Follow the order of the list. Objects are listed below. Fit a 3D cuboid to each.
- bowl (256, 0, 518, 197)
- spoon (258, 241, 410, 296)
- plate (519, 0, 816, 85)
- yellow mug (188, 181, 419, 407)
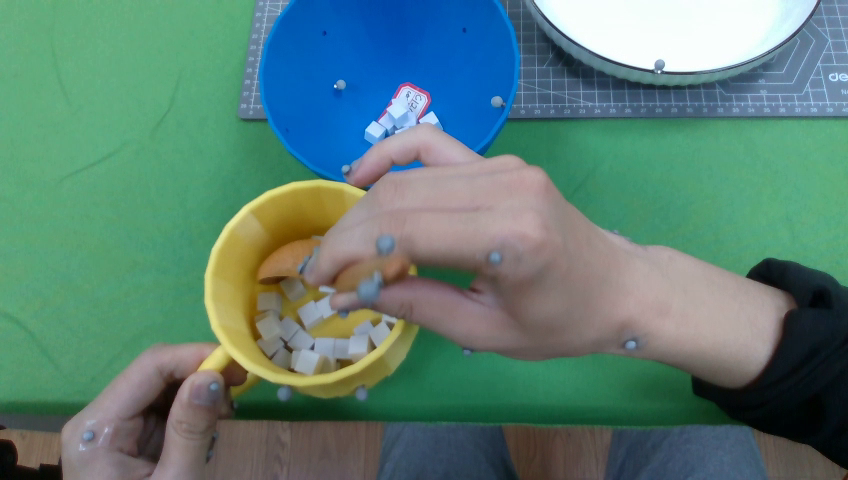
[{"bbox_3d":[-0.019,-0.088,0.380,0.151,0.077,0.150,-1,74,4],"label":"bowl"},{"bbox_3d":[-0.040,0.013,0.251,0.041,0.193,0.022,-27,101,-21],"label":"spoon"},{"bbox_3d":[0.163,-0.193,0.425,0.209,0.038,0.207,-1,70,4],"label":"plate"},{"bbox_3d":[-0.064,0.038,0.309,0.131,0.064,0.099,-42,77,-11],"label":"yellow mug"}]
